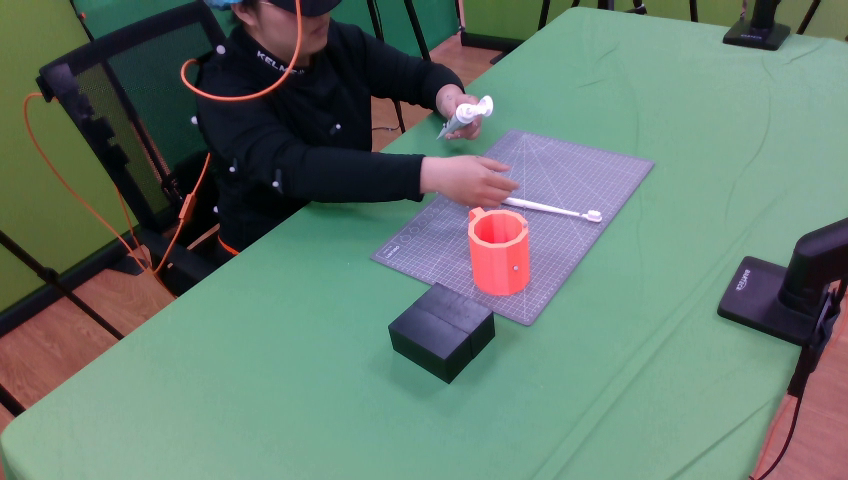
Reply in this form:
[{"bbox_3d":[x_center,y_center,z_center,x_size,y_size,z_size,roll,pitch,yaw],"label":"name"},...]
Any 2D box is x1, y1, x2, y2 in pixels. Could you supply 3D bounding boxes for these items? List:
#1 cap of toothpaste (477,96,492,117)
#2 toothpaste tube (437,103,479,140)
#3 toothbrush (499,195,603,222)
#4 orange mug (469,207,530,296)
[{"bbox_3d":[0.103,-0.227,1.026,0.011,0.037,0.037,-5,35,-30],"label":"cap of toothpaste"},{"bbox_3d":[0.064,-0.218,1.107,0.055,0.034,0.164,-29,2,-13],"label":"toothpaste tube"},{"bbox_3d":[0.209,-0.055,1.011,0.180,0.017,0.014,13,59,27],"label":"toothbrush"},{"bbox_3d":[0.104,0.008,0.894,0.084,0.101,0.125,-22,46,-14],"label":"orange mug"}]
